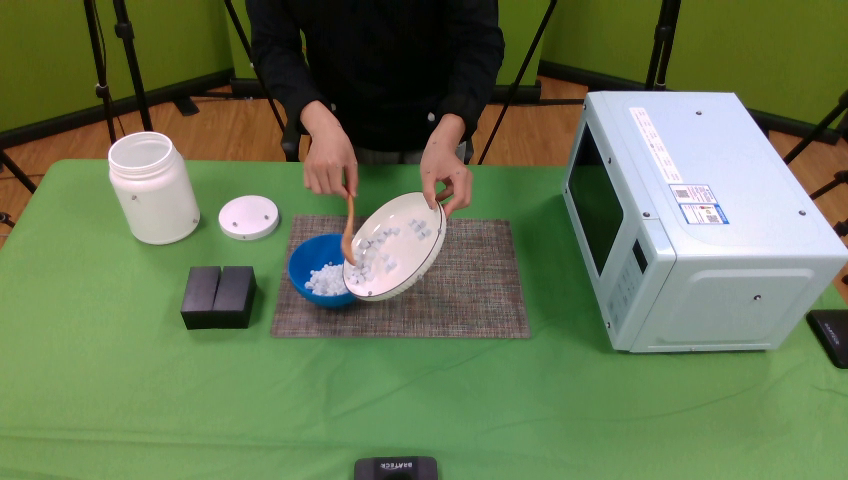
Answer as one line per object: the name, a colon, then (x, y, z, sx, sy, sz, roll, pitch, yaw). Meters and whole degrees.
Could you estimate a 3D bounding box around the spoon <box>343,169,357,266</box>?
spoon: (-0.126, -0.042, 1.035, 0.021, 0.042, 0.192, -9, 61, 10)

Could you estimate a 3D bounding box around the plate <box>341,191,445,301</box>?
plate: (-0.047, 0.013, 0.995, 0.209, 0.038, 0.208, -27, 41, 26)

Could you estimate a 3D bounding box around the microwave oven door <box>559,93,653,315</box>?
microwave oven door: (0.327, -0.074, 1.123, 0.039, 0.245, 0.353, -1, 46, -5)

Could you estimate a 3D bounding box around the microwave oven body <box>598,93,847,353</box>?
microwave oven body: (0.475, -0.041, 1.109, 0.326, 0.261, 0.438, -1, 45, -4)

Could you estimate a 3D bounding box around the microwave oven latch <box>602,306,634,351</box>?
microwave oven latch: (0.332, 0.153, 1.044, 0.030, 0.029, 0.078, 0, 45, -4)

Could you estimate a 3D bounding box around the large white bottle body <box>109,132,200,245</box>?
large white bottle body: (-0.506, -0.097, 1.141, 0.131, 0.185, 0.130, 2, 46, -2)

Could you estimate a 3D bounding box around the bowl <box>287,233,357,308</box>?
bowl: (-0.165, 0.068, 1.078, 0.151, 0.077, 0.150, 3, 45, -3)

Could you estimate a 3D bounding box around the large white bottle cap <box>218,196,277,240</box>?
large white bottle cap: (-0.354, -0.045, 1.220, 0.115, 0.018, 0.114, 2, 45, -2)
